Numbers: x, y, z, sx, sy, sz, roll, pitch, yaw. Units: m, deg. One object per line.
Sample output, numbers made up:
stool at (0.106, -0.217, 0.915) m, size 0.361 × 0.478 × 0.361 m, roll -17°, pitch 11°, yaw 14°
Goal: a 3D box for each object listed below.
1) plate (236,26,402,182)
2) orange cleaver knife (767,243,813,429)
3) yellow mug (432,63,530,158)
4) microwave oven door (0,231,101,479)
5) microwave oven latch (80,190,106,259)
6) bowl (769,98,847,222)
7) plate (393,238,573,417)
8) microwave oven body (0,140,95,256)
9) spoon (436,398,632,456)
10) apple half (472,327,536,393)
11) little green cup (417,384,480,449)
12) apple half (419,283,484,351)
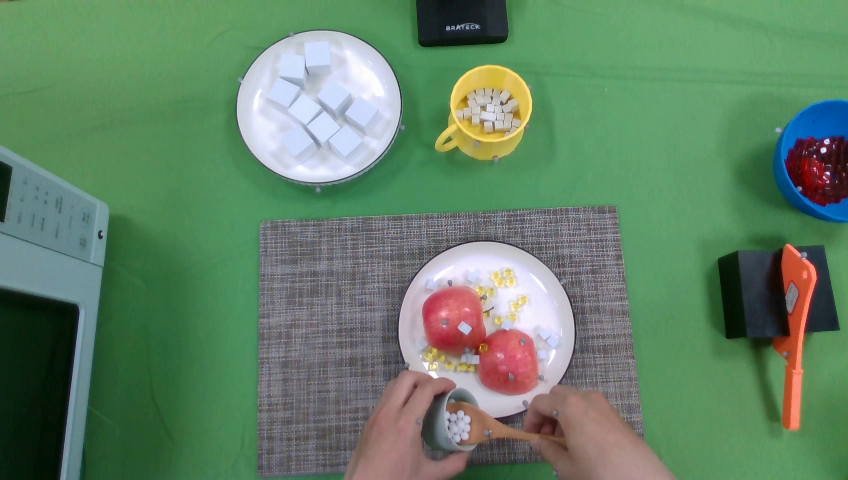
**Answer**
plate at (-0.131, -0.171, 0.773) m, size 0.208 × 0.039 × 0.206 m, roll 0°, pitch 78°, yaw 0°
orange cleaver knife at (0.415, 0.110, 0.697) m, size 0.012 × 0.077 × 0.212 m, roll -1°, pitch 102°, yaw 4°
yellow mug at (0.065, -0.152, 0.756) m, size 0.131 × 0.064 × 0.099 m, roll -34°, pitch 80°, yaw -6°
microwave oven door at (-0.405, 0.175, 0.578) m, size 0.039 × 0.245 × 0.354 m, roll 0°, pitch 78°, yaw 0°
microwave oven latch at (-0.400, -0.018, 0.720) m, size 0.030 × 0.029 × 0.079 m, roll 3°, pitch 79°, yaw 0°
bowl at (0.485, -0.087, 0.739) m, size 0.151 × 0.077 × 0.150 m, roll 0°, pitch 79°, yaw 0°
plate at (0.068, 0.101, 0.715) m, size 0.209 × 0.038 × 0.208 m, roll 0°, pitch 79°, yaw -1°
microwave oven body at (-0.551, 0.132, 0.590) m, size 0.326 × 0.261 × 0.439 m, roll 1°, pitch 79°, yaw -1°
spoon at (0.096, 0.184, 0.575) m, size 0.192 × 0.022 × 0.041 m, roll 2°, pitch 76°, yaw 29°
apple half at (0.094, 0.139, 0.701) m, size 0.081 × 0.033 × 0.081 m, roll 0°, pitch 75°, yaw 0°
little green cup at (0.024, 0.181, 0.613) m, size 0.062 × 0.038 × 0.061 m, roll 23°, pitch 48°, yaw -27°
apple half at (0.031, 0.088, 0.702) m, size 0.074 × 0.053 × 0.080 m, roll -5°, pitch 79°, yaw 1°
